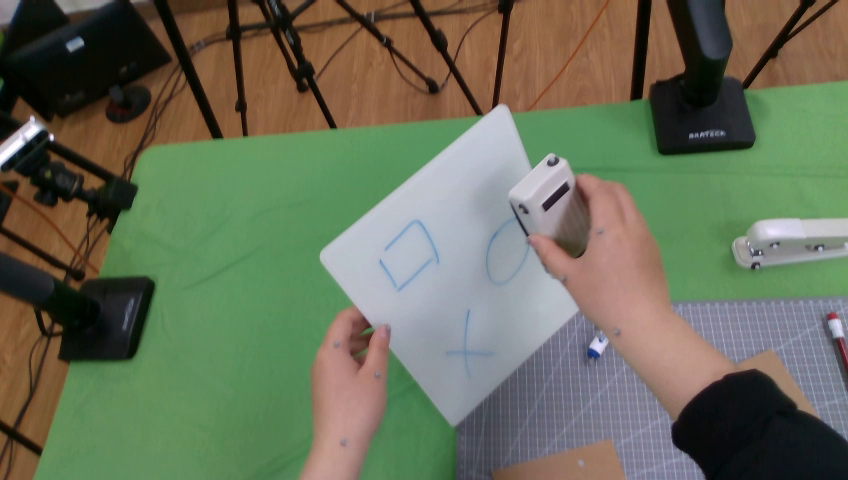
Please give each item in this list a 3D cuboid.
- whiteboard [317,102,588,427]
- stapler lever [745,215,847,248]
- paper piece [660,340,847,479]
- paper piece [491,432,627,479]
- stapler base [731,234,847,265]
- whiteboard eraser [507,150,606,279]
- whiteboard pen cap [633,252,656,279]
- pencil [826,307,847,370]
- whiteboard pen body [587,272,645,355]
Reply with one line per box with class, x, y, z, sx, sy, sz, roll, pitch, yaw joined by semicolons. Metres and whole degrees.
whiteboard;0.020;0.017;0.666;0.217;0.309;0.142;-39;40;-9
stapler lever;0.431;-0.012;0.692;0.118;0.040;0.026;-8;62;8
paper piece;0.343;0.193;0.632;0.136;0.009;0.137;-25;61;3
paper piece;0.151;0.281;0.625;0.135;0.004;0.134;-15;61;3
stapler base;0.434;0.000;0.712;0.130;0.024;0.041;-8;62;6
whiteboard eraser;0.116;-0.020;0.533;0.055;0.114;0.041;-41;36;-6
whiteboard pen cap;0.267;0.032;0.732;0.018;0.018;0.033;27;70;25
pencil;0.450;0.160;0.624;0.012;0.012;0.192;-7;62;9
whiteboard pen body;0.233;0.076;0.716;0.017;0.017;0.140;29;70;25
